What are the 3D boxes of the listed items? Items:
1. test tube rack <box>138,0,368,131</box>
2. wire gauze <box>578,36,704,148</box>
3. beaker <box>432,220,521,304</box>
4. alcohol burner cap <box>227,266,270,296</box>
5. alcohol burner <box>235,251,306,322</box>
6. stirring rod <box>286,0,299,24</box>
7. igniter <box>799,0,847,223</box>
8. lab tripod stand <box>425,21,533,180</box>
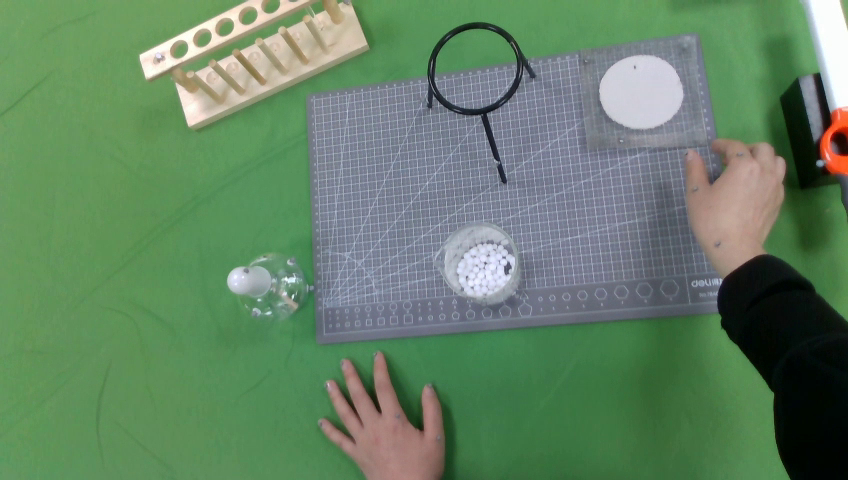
[{"bbox_3d":[-0.198,-0.219,0.710,0.242,0.085,0.066,-23,77,6],"label":"test tube rack"},{"bbox_3d":[0.233,-0.158,0.652,0.125,0.011,0.121,-2,80,8],"label":"wire gauze"},{"bbox_3d":[0.058,0.027,0.610,0.084,0.101,0.073,0,80,12],"label":"beaker"},{"bbox_3d":[-0.181,0.041,0.613,0.034,0.048,0.034,-1,83,10],"label":"alcohol burner cap"},{"bbox_3d":[-0.173,0.047,0.648,0.078,0.120,0.077,-2,78,10],"label":"alcohol burner"},{"bbox_3d":[-0.162,-0.287,0.634,0.006,0.177,0.014,-22,71,1],"label":"stirring rod"},{"bbox_3d":[0.391,-0.112,0.558,0.057,0.025,0.275,-7,77,13],"label":"igniter"},{"bbox_3d":[0.059,-0.146,0.620,0.148,0.132,0.148,-1,81,9],"label":"lab tripod stand"}]
